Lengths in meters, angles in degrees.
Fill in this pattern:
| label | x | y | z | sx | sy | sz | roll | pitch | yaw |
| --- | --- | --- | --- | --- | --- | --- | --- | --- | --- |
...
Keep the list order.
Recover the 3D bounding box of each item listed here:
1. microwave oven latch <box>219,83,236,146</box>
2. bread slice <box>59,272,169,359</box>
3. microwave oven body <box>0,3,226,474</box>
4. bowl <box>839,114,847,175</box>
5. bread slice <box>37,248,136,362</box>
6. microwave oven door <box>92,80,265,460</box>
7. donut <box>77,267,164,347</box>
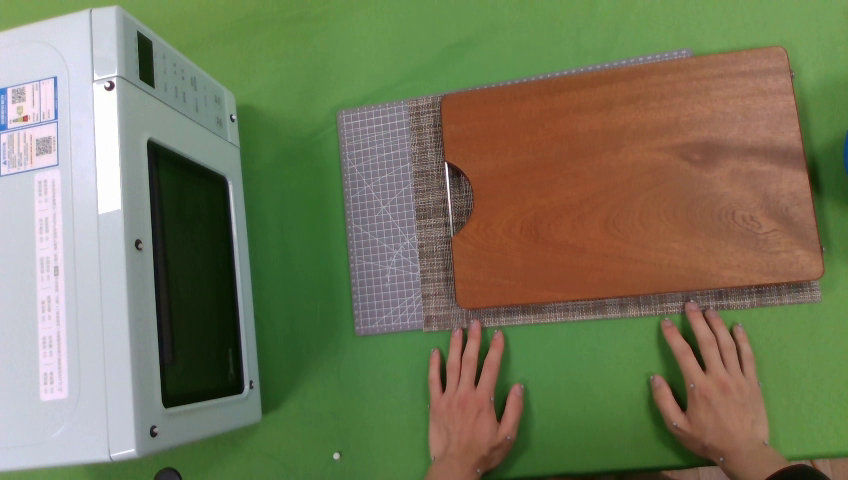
| label | x | y | z | sx | sy | sz | roll | pitch | yaw |
| --- | --- | --- | --- | --- | --- | --- | --- | --- | --- |
| microwave oven latch | -0.269 | -0.163 | 0.799 | 0.030 | 0.029 | 0.079 | -10 | 82 | 9 |
| bread slice | -0.388 | 0.091 | 0.753 | 0.131 | 0.019 | 0.105 | 4 | 89 | 4 |
| microwave oven body | -0.408 | 0.020 | 0.703 | 0.325 | 0.261 | 0.440 | -10 | 81 | 9 |
| bowl | 0.509 | -0.096 | 0.636 | 0.151 | 0.077 | 0.151 | -1 | 83 | 11 |
| bread slice | -0.379 | 0.082 | 0.675 | 0.134 | 0.018 | 0.106 | -22 | 81 | 22 |
| microwave oven door | -0.261 | 0.036 | 0.667 | 0.039 | 0.245 | 0.354 | -10 | 81 | 10 |
| donut | -0.361 | 0.079 | 0.720 | 0.099 | 0.048 | 0.099 | 0 | 98 | -1 |
